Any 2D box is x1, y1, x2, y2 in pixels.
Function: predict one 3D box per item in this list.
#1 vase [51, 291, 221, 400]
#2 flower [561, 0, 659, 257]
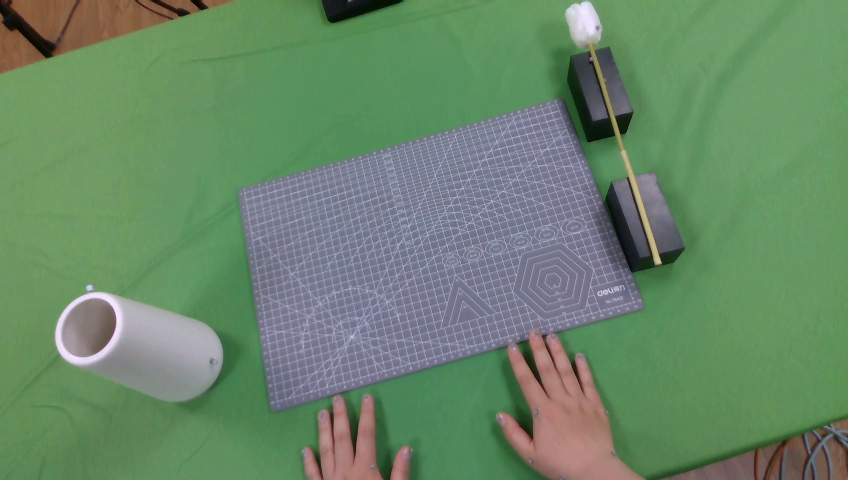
[{"bbox_3d":[-0.297,0.113,0.646,0.098,0.201,0.097,-2,69,5],"label":"vase"},{"bbox_3d":[0.223,-0.144,0.721,0.044,0.038,0.358,2,64,-25],"label":"flower"}]
